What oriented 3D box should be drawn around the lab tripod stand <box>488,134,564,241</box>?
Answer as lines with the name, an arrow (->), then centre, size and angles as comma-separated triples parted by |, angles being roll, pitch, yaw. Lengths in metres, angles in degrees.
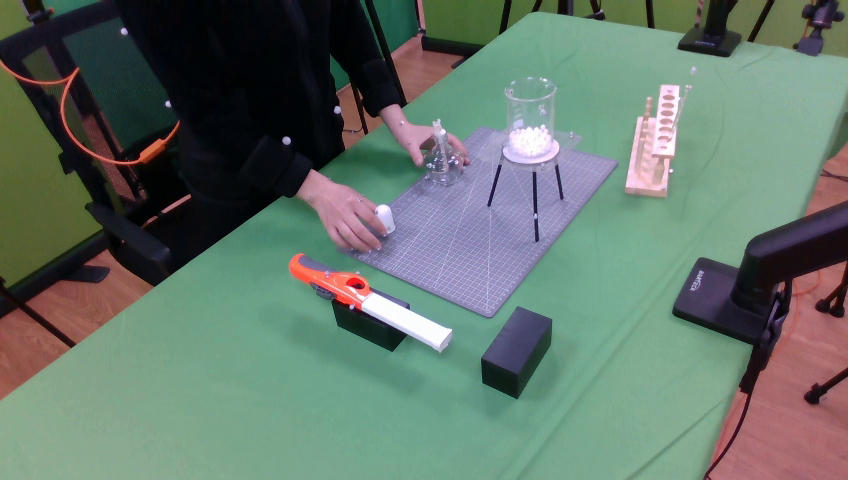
lab tripod stand -> 0.168, -0.092, 0.972 | 0.148, 0.132, 0.147 | -5, 41, 5

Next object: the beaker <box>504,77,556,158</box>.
beaker -> 0.160, -0.181, 0.900 | 0.084, 0.101, 0.073 | -32, 46, -27

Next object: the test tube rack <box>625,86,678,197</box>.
test tube rack -> 0.412, -0.184, 1.088 | 0.066, 0.085, 0.242 | 9, 43, 18

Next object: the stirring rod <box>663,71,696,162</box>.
stirring rod -> 0.410, -0.195, 0.981 | 0.014, 0.177, 0.006 | 11, 50, 13

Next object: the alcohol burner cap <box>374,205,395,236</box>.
alcohol burner cap -> -0.066, -0.034, 0.977 | 0.034, 0.048, 0.033 | -4, 36, 3

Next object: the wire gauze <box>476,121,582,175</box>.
wire gauze -> 0.162, -0.142, 0.929 | 0.120, 0.011, 0.125 | 19, 49, 32

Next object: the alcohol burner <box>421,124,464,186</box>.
alcohol burner -> 0.032, -0.157, 1.083 | 0.078, 0.119, 0.077 | -4, 42, 5

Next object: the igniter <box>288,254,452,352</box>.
igniter -> -0.084, 0.079, 0.818 | 0.274, 0.025, 0.057 | 23, 46, 27
